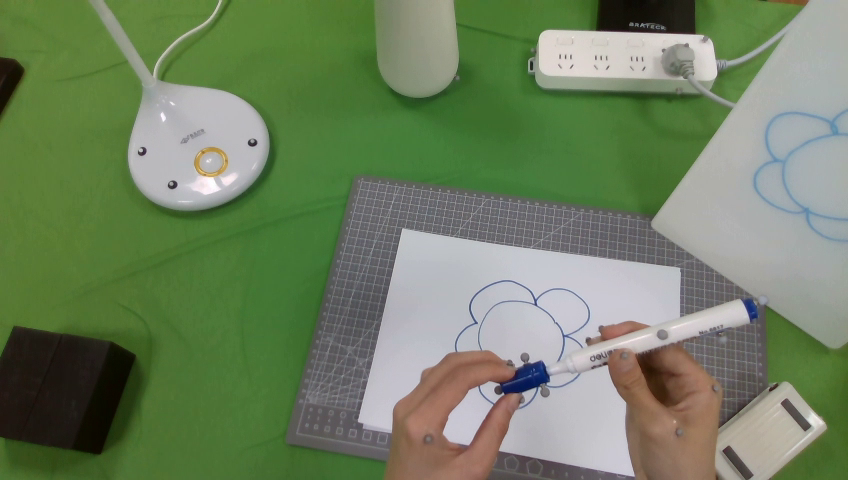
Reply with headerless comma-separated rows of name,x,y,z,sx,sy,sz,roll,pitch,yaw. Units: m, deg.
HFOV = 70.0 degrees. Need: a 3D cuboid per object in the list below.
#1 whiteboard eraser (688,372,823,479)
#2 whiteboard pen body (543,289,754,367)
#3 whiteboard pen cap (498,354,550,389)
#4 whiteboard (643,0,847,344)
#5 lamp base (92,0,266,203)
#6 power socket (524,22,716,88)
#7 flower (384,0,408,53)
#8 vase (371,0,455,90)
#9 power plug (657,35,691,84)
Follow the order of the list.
whiteboard eraser,0.299,0.173,0.551,0.112,0.042,0.055,-33,69,-12
whiteboard pen body,0.137,0.060,0.388,0.140,0.017,0.017,-22,65,17
whiteboard pen cap,0.068,0.089,0.408,0.033,0.018,0.018,-20,66,13
whiteboard,0.393,-0.088,0.554,0.216,0.307,0.144,38,52,17
lamp base,-0.275,-0.153,0.635,0.178,0.181,0.160,40,73,20
power socket,0.236,-0.223,0.731,0.227,0.033,0.071,3,68,3
flower,0.000,-0.278,0.582,0.044,0.362,0.038,-33,86,-21
vase,-0.015,-0.256,0.662,0.098,0.201,0.097,-1,66,3
power plug,0.284,-0.202,0.696,0.035,0.053,0.072,13,74,7
